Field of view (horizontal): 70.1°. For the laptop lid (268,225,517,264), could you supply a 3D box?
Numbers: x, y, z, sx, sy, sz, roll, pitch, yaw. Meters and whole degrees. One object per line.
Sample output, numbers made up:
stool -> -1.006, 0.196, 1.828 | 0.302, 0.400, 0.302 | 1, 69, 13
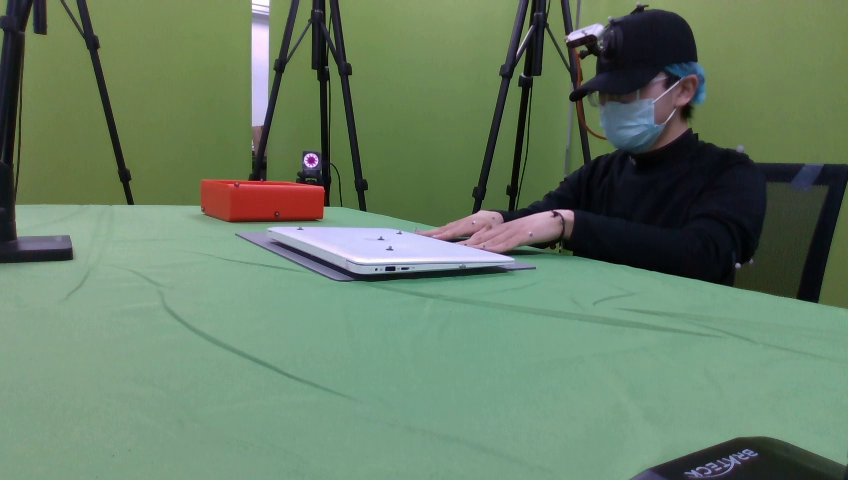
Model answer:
laptop lid -> -0.063, 0.002, 0.877 | 0.243, 0.013, 0.355 | 1, 7, -30

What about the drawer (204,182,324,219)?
drawer -> -0.360, -0.091, 1.358 | 0.213, 0.073, 0.193 | -4, 10, -36

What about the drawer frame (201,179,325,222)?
drawer frame -> -0.362, -0.092, 1.356 | 0.215, 0.082, 0.200 | -4, 10, -37

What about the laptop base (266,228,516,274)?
laptop base -> -0.065, 0.014, 0.877 | 0.237, 0.023, 0.352 | 2, 6, -32

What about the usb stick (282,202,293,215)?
usb stick -> -0.309, -0.072, 1.367 | 0.021, 0.027, 0.059 | 4, 6, -14
